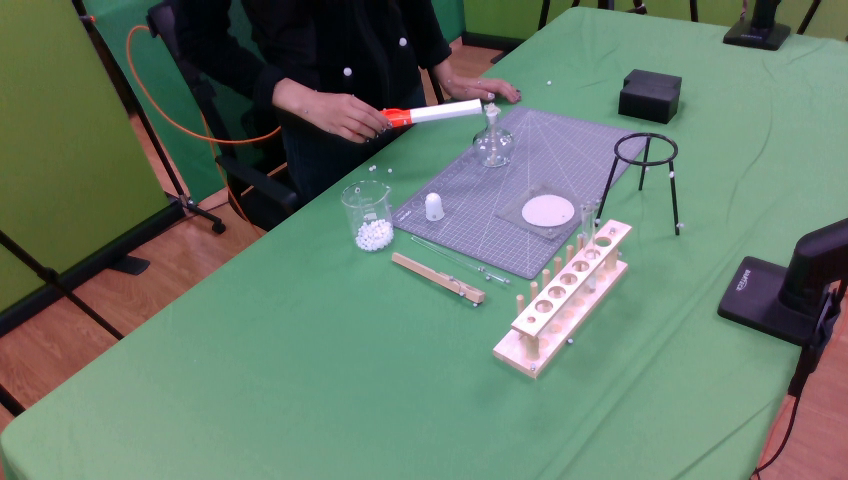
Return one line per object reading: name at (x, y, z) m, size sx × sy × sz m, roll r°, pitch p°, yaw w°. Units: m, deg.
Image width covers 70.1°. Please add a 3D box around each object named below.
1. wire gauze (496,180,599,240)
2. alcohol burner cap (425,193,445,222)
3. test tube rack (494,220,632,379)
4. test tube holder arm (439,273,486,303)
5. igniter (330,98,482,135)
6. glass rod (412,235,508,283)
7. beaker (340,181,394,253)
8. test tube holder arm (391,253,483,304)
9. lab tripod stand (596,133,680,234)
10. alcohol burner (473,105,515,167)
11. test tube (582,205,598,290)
wire gauze at (0.206, -0.050, 1.012) m, size 0.125 × 0.011 × 0.120 m, roll -34°, pitch 45°, yaw -26°
alcohol burner cap at (0.017, -0.058, 1.029) m, size 0.034 × 0.048 × 0.033 m, roll -6°, pitch 40°, yaw 5°
test tube rack at (0.191, 0.068, 0.818) m, size 0.066 × 0.085 × 0.243 m, roll 25°, pitch 51°, yaw 35°
test tube holder arm at (0.053, 0.070, 0.896) m, size 0.087 × 0.015 × 0.010 m, roll 24°, pitch 17°, yaw 34°
igniter at (-0.034, -0.223, 1.092) m, size 0.276 × 0.025 × 0.057 m, roll -8°, pitch 42°, yaw 3°
glass rod at (0.051, 0.028, 0.951) m, size 0.198 × 0.008 × 0.008 m, roll 25°, pitch 51°, yaw 37°
beaker at (-0.087, -0.037, 0.985) m, size 0.084 × 0.101 × 0.073 m, roll -18°, pitch 41°, yaw -11°
test tube holder arm at (0.016, 0.056, 0.917) m, size 0.177 × 0.015 × 0.013 m, roll 24°, pitch 17°, yaw 34°
lab tripod stand at (0.338, -0.090, 0.940) m, size 0.148 × 0.132 × 0.147 m, roll -7°, pitch 39°, yaw 6°
alcohol burner at (0.128, -0.196, 1.116) m, size 0.078 × 0.119 × 0.077 m, roll -4°, pitch 40°, yaw 4°
test tube at (0.220, 0.014, 0.798) m, size 0.017 × 0.151 × 0.017 m, roll -9°, pitch 43°, yaw 9°
